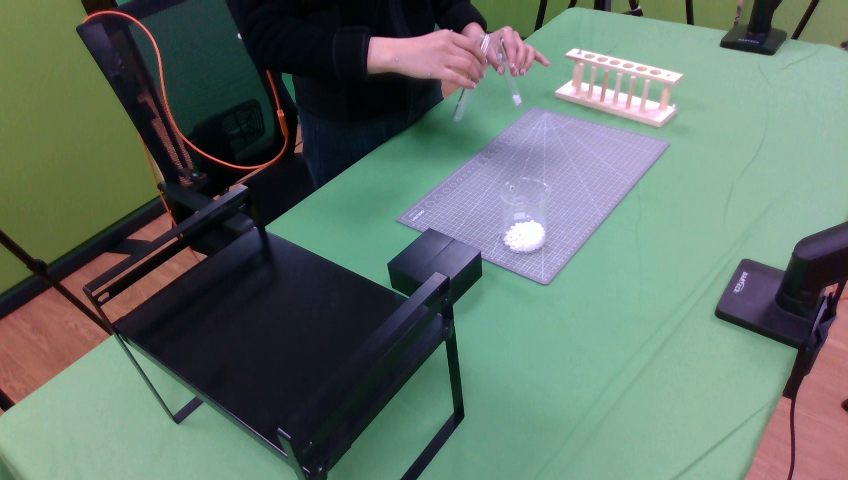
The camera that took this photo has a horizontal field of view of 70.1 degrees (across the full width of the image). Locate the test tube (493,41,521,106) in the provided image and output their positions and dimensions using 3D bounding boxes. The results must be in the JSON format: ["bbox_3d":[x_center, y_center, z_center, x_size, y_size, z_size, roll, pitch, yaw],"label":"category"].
[{"bbox_3d":[0.150,-0.293,1.077,0.017,0.151,0.017,-12,55,18],"label":"test tube"}]

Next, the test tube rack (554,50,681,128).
[{"bbox_3d":[0.388,-0.311,1.234,0.240,0.085,0.067,28,52,34],"label":"test tube rack"}]

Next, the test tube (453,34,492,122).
[{"bbox_3d":[0.080,-0.270,1.011,0.017,0.150,0.017,20,12,-4],"label":"test tube"}]

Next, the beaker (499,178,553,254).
[{"bbox_3d":[0.158,-0.036,0.929,0.084,0.100,0.073,-16,41,-12],"label":"beaker"}]
